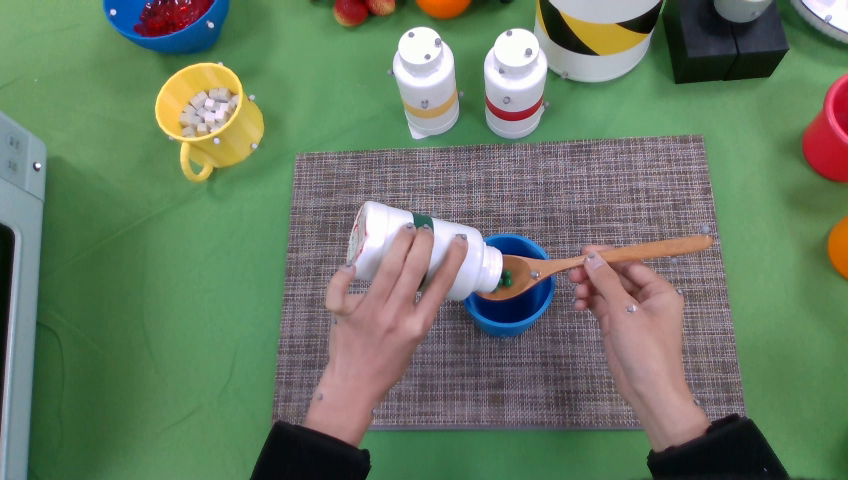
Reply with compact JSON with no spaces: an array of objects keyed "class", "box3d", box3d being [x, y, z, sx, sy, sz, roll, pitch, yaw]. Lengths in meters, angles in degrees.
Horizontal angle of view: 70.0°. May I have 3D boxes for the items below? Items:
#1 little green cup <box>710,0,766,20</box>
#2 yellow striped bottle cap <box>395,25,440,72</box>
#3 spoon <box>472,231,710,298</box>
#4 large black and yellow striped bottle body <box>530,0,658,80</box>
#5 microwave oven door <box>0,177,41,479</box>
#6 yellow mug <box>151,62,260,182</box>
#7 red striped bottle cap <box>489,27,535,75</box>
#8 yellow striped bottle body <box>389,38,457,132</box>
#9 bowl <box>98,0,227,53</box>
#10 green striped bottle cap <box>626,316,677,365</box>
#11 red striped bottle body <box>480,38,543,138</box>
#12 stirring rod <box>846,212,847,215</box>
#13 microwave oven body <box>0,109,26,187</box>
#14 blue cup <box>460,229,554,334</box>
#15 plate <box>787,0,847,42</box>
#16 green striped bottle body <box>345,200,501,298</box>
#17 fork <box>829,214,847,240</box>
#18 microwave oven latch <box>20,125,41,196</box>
[{"class":"little green cup","box3d":[0.329,-0.262,0.628,0.061,0.039,0.061,-2,69,5]},{"class":"yellow striped bottle cap","box3d":[-0.007,-0.188,0.595,0.044,0.019,0.044,-2,72,5]},{"class":"spoon","box3d":[0.128,0.017,0.492,0.193,0.022,0.041,-12,65,22]},{"class":"large black and yellow striped bottle body","box3d":[0.178,-0.269,0.624,0.130,0.185,0.130,-2,70,6]},{"class":"microwave oven door","box3d":[-0.437,0.080,0.522,0.039,0.245,0.353,-11,70,3]},{"class":"yellow mug","box3d":[-0.249,-0.128,0.685,0.100,0.064,0.130,8,72,8]},{"class":"red striped bottle cap","box3d":[0.085,-0.182,0.582,0.044,0.018,0.044,-1,69,2]},{"class":"yellow striped bottle body","box3d":[0.000,-0.171,0.643,0.063,0.121,0.062,-2,70,7]},{"class":"bowl","box3d":[-0.303,-0.284,0.739,0.151,0.077,0.150,-2,71,5]},{"class":"green striped bottle cap","box3d":[0.217,0.096,0.578,0.044,0.020,0.044,-2,67,5]},{"class":"red striped bottle body","box3d":[0.092,-0.163,0.631,0.063,0.120,0.062,-4,68,10]},{"class":"stirring rod","box3d":[0.419,0.014,0.524,0.014,0.006,0.175,0,28,4]},{"class":"microwave oven body","box3d":[-0.586,0.070,0.547,0.326,0.262,0.438,-11,71,2]},{"class":"blue cup","box3d":[0.072,0.048,0.565,0.092,0.101,0.092,-1,69,4]},{"class":"plate","box3d":[0.499,-0.300,0.676,0.209,0.038,0.207,-2,71,6]},{"class":"green striped bottle body","box3d":[0.001,0.010,0.488,0.120,0.063,0.063,11,71,-14]},{"class":"fork","box3d":[0.448,0.014,0.513,0.028,0.019,0.205,-40,27,-7]},{"class":"microwave oven latch","box3d":[-0.458,-0.089,0.691,0.030,0.030,0.078,-9,71,3]}]
